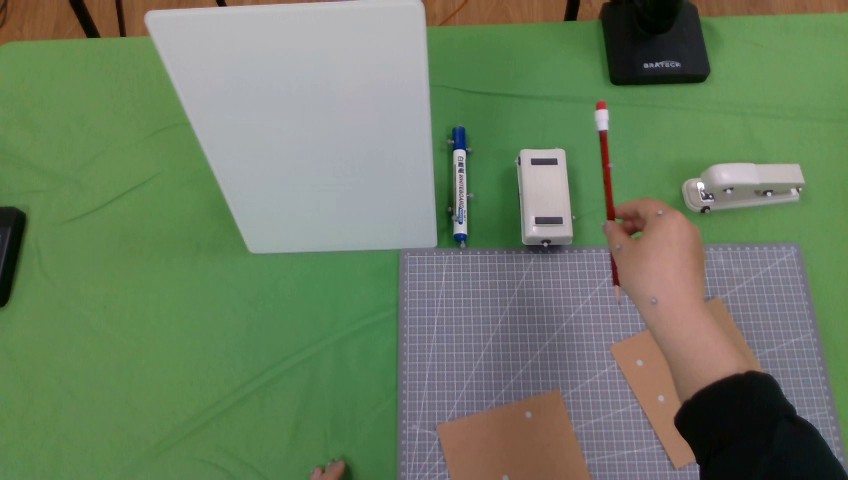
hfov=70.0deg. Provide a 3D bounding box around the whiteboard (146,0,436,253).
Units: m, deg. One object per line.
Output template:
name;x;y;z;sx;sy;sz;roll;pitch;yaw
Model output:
whiteboard;-0.098;-0.137;0.616;0.217;0.308;0.142;-1;51;2

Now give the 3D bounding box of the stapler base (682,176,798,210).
stapler base;0.366;-0.063;0.695;0.131;0.024;0.041;-6;73;-3

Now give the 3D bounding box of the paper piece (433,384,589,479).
paper piece;0.092;0.228;0.607;0.135;0.004;0.135;-14;72;-5

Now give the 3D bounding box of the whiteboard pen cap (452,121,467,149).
whiteboard pen cap;0.043;-0.125;0.727;0.018;0.018;0.033;-2;69;1

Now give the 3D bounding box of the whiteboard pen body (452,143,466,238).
whiteboard pen body;0.041;-0.070;0.709;0.017;0.017;0.140;0;71;2

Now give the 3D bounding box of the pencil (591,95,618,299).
pencil;0.171;-0.041;0.568;0.012;0.012;0.193;-5;86;0

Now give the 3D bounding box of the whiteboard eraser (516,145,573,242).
whiteboard eraser;0.136;-0.053;0.689;0.055;0.042;0.112;-1;71;2

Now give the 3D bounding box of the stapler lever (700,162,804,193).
stapler lever;0.366;-0.072;0.673;0.118;0.040;0.026;-6;72;-1

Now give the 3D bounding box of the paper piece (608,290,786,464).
paper piece;0.283;0.140;0.633;0.136;0.009;0.137;-23;74;-2
